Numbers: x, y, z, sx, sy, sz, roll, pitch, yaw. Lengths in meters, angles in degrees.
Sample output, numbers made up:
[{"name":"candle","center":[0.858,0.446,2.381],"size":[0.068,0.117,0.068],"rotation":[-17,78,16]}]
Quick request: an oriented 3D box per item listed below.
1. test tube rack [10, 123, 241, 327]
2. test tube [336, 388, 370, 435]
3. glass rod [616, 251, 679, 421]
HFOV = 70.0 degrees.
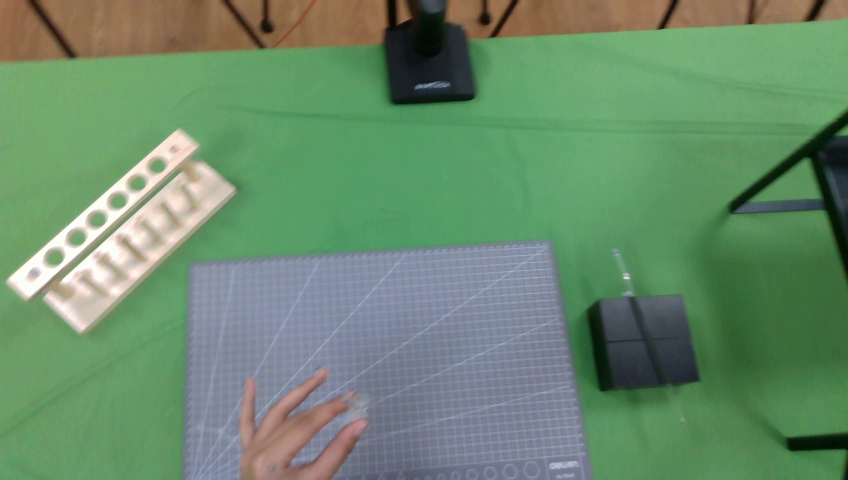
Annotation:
[{"name":"test tube rack","center":[-0.333,-0.017,0.701],"size":[0.066,0.085,0.242],"rotation":[40,73,10]},{"name":"test tube","center":[-0.065,0.154,0.536],"size":[0.017,0.151,0.017],"rotation":[5,63,-11]},{"name":"glass rod","center":[0.253,0.106,0.690],"size":[0.008,0.008,0.198],"rotation":[-12,73,-7]}]
